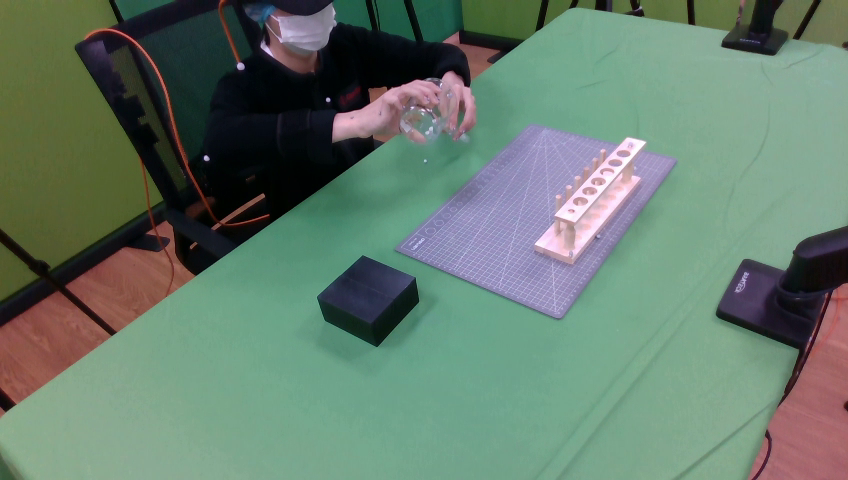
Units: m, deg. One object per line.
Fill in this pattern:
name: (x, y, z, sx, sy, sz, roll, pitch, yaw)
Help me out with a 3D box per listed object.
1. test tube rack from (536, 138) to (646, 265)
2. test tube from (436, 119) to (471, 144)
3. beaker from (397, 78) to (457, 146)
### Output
test tube rack: (0.268, -0.071, 0.964, 0.066, 0.085, 0.243, 23, 49, 32)
test tube: (0.056, -0.193, 1.090, 0.017, 0.017, 0.151, 12, 1, 23)
beaker: (0.004, -0.200, 0.966, 0.073, 0.084, 0.100, -3, 36, 25)
